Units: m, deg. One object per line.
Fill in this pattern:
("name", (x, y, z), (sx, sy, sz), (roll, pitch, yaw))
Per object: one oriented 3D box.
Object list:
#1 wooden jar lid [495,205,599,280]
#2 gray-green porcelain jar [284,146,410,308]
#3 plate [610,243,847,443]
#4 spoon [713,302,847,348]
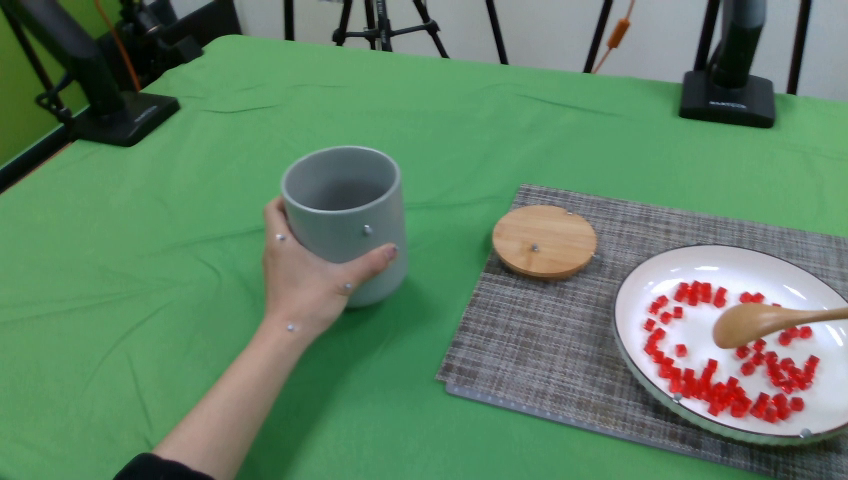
("wooden jar lid", (0.129, 0.004, 0.640), (0.108, 0.021, 0.107), (-2, 42, 2))
("gray-green porcelain jar", (-0.068, -0.008, 0.572), (0.106, 0.127, 0.105), (-1, 41, 1))
("plate", (0.267, 0.085, 0.524), (0.207, 0.039, 0.205), (-3, 42, 3))
("spoon", (0.302, 0.051, 0.439), (0.193, 0.022, 0.041), (-20, 33, 47))
